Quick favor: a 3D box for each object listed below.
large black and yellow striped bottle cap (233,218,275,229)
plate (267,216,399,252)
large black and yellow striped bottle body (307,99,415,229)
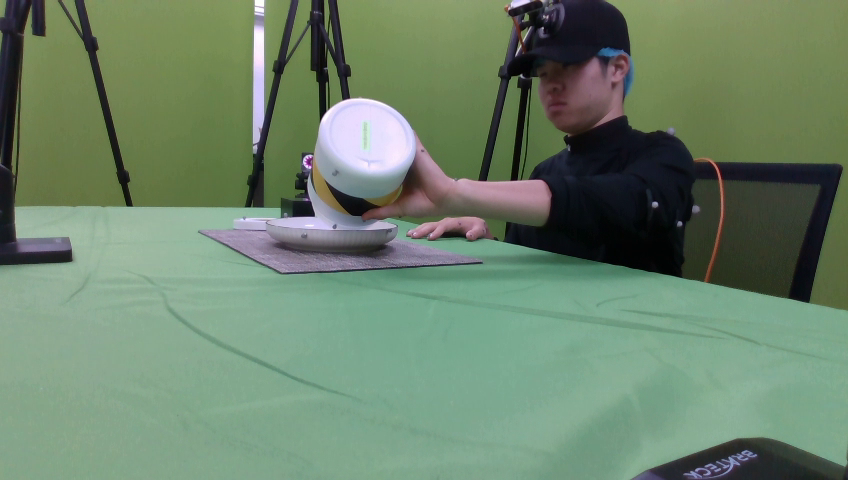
[{"bbox_3d":[-0.311,-0.032,1.172,0.115,0.019,0.115,1,4,0],"label":"large black and yellow striped bottle cap"},{"bbox_3d":[-0.145,-0.010,0.967,0.208,0.039,0.207,3,7,0],"label":"plate"},{"bbox_3d":[-0.098,-0.097,0.867,0.131,0.130,0.183,0,-28,-18],"label":"large black and yellow striped bottle body"}]
